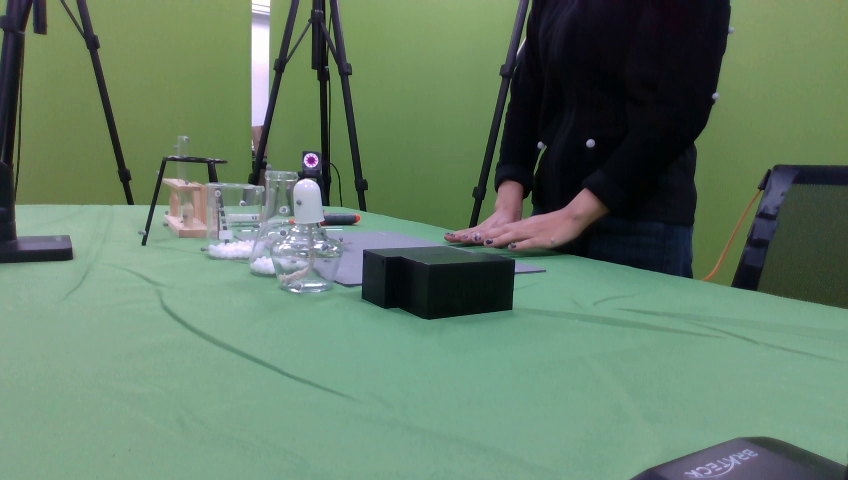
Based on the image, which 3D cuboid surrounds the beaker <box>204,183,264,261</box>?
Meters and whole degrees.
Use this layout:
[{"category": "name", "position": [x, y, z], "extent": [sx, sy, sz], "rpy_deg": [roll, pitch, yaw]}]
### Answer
[{"category": "beaker", "position": [-0.254, -0.026, 0.817], "extent": [0.073, 0.100, 0.084], "rpy_deg": [9, 9, 39]}]

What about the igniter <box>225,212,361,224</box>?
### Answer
[{"category": "igniter", "position": [-0.262, -0.044, 1.240], "extent": [0.278, 0.025, 0.057], "rpy_deg": [-2, -1, -31]}]

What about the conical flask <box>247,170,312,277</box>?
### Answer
[{"category": "conical flask", "position": [-0.170, -0.021, 0.717], "extent": [0.075, 0.122, 0.075], "rpy_deg": [2, 7, 0]}]

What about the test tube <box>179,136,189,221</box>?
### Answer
[{"category": "test tube", "position": [-0.425, -0.108, 1.070], "extent": [0.017, 0.150, 0.017], "rpy_deg": [4, 9, 0]}]

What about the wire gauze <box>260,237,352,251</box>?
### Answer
[{"category": "wire gauze", "position": [-0.184, 0.004, 0.938], "extent": [0.122, 0.011, 0.124], "rpy_deg": [-1, 5, -24]}]

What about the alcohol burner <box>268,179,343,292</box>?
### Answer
[{"category": "alcohol burner", "position": [-0.124, -0.005, 0.637], "extent": [0.078, 0.119, 0.078], "rpy_deg": [4, 8, 0]}]

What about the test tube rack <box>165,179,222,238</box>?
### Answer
[{"category": "test tube rack", "position": [-0.423, -0.062, 1.098], "extent": [0.067, 0.085, 0.241], "rpy_deg": [-2, 9, -28]}]

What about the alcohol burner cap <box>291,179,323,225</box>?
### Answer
[{"category": "alcohol burner cap", "position": [-0.124, -0.040, 0.632], "extent": [0.034, 0.048, 0.034], "rpy_deg": [-3, 10, 1]}]

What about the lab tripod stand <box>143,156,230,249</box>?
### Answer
[{"category": "lab tripod stand", "position": [-0.338, -0.058, 0.908], "extent": [0.148, 0.131, 0.148], "rpy_deg": [4, 7, 0]}]

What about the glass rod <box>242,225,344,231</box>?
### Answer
[{"category": "glass rod", "position": [-0.246, -0.023, 1.154], "extent": [0.201, 0.008, 0.008], "rpy_deg": [-2, 8, -31]}]
